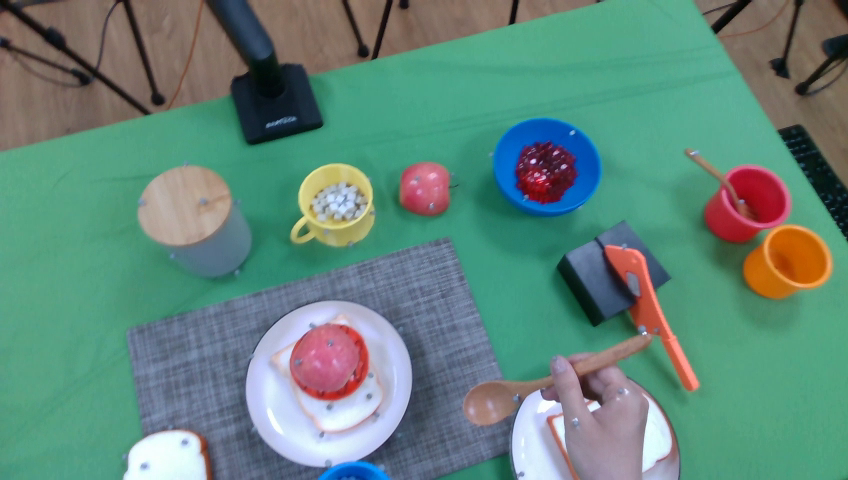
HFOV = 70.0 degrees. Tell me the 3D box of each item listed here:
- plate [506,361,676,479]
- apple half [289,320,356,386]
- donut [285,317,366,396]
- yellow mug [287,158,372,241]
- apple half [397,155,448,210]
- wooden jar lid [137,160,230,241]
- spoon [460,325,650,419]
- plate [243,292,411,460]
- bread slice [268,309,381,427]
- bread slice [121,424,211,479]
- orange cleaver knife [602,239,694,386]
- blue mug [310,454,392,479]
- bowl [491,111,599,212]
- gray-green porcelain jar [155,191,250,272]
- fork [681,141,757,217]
[{"bbox_3d":[0.202,0.254,0.751,0.209,0.038,0.207,1,68,-2],"label":"plate"},{"bbox_3d":[-0.121,0.132,0.713,0.081,0.033,0.081,-1,72,3],"label":"apple half"},{"bbox_3d":[-0.120,0.143,0.746,0.099,0.048,0.098,1,68,-2],"label":"donut"},{"bbox_3d":[-0.136,-0.047,0.840,0.131,0.064,0.099,-40,75,-15],"label":"yellow mug"},{"bbox_3d":[-0.002,-0.089,0.870,0.074,0.054,0.080,4,69,2],"label":"apple half"},{"bbox_3d":[-0.288,-0.046,0.733,0.108,0.021,0.107,1,67,-1],"label":"wooden jar lid"},{"bbox_3d":[0.114,0.121,0.552,0.193,0.022,0.041,-30,86,30],"label":"spoon"},{"bbox_3d":[-0.121,0.169,0.766,0.208,0.039,0.206,1,68,-2],"label":"plate"},{"bbox_3d":[-0.117,0.167,0.769,0.107,0.018,0.133,-33,72,-14],"label":"bread slice"},{"bbox_3d":[-0.309,0.288,0.722,0.105,0.019,0.130,-9,70,-7],"label":"bread slice"},{"bbox_3d":[0.291,0.093,0.795,0.012,0.077,0.211,-26,93,-19],"label":"orange cleaver knife"},{"bbox_3d":[-0.089,0.257,0.567,0.117,0.106,0.081,-15,67,-19],"label":"blue mug"},{"bbox_3d":[0.166,-0.099,0.868,0.151,0.077,0.150,1,69,-2],"label":"bowl"},{"bbox_3d":[-0.290,-0.022,0.791,0.106,0.127,0.105,1,68,-2],"label":"gray-green porcelain jar"},{"bbox_3d":[0.410,-0.082,0.834,0.209,0.018,0.028,30,62,-35],"label":"fork"}]
